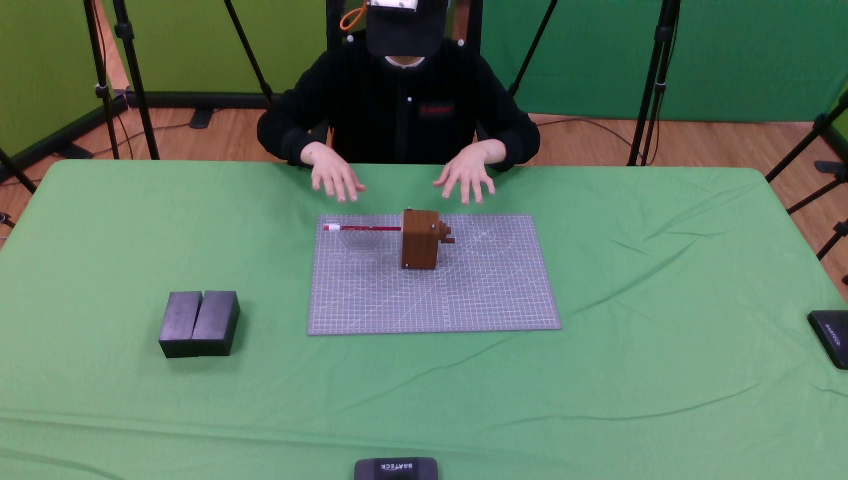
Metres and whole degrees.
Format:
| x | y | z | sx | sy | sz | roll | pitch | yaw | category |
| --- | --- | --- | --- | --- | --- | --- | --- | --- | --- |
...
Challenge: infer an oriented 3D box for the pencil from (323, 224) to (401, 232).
| x | y | z | sx | sy | sz | roll | pitch | yaw | category |
| --- | --- | --- | --- | --- | --- | --- | --- | --- | --- |
| -0.088 | -0.020 | 1.113 | 0.194 | 0.012 | 0.012 | 2 | 46 | -2 | pencil |

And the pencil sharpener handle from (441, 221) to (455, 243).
| x | y | z | sx | sy | sz | roll | pitch | yaw | category |
| --- | --- | --- | --- | --- | --- | --- | --- | --- | --- |
| 0.046 | -0.011 | 1.130 | 0.030 | 0.068 | 0.036 | 2 | 65 | -2 | pencil sharpener handle |

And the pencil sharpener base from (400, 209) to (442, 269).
| x | y | z | sx | sy | sz | roll | pitch | yaw | category |
| --- | --- | --- | --- | --- | --- | --- | --- | --- | --- |
| -0.006 | 0.000 | 1.134 | 0.077 | 0.107 | 0.061 | 2 | 46 | -2 | pencil sharpener base |
